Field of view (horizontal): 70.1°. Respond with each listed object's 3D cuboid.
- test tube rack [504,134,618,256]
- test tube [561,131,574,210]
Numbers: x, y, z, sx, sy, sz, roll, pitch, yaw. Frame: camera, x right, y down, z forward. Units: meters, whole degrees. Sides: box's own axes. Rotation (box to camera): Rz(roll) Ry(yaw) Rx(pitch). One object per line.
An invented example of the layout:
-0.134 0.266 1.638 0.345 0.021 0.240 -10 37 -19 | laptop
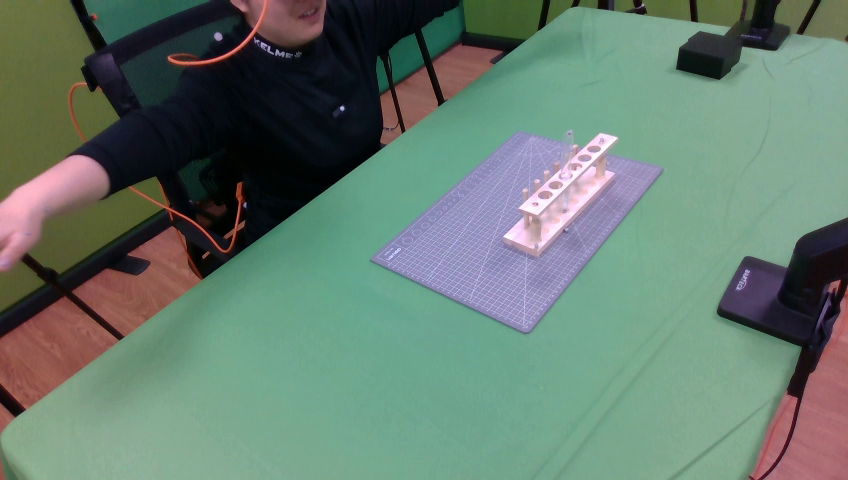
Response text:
0.225 -0.083 0.984 0.066 0.085 0.243 25 51 34 | test tube rack
0.220 -0.103 0.933 0.017 0.151 0.017 -5 45 6 | test tube
